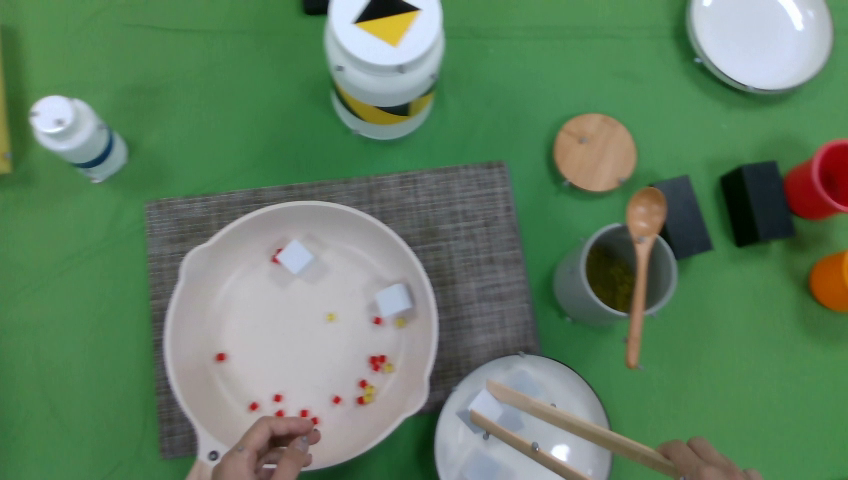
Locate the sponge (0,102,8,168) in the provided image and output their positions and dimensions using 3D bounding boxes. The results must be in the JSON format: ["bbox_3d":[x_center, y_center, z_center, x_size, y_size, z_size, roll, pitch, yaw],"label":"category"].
[{"bbox_3d":[-0.578,-0.180,0.710,0.118,0.061,0.206,-13,81,-8],"label":"sponge"}]

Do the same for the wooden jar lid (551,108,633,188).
[{"bbox_3d":[0.219,-0.120,0.796,0.108,0.021,0.108,1,80,-5],"label":"wooden jar lid"}]

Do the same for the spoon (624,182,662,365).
[{"bbox_3d":[0.226,0.035,0.641,0.042,0.021,0.193,8,82,-8],"label":"spoon"}]

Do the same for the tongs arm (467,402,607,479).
[{"bbox_3d":[0.208,0.222,0.514,0.381,0.027,0.050,24,46,30],"label":"tongs arm"}]

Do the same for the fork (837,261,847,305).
[{"bbox_3d":[0.525,-0.001,0.736,0.028,0.018,0.209,-20,125,-1],"label":"fork"}]

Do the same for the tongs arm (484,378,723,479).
[{"bbox_3d":[0.220,0.209,0.528,0.384,0.028,0.028,20,41,27],"label":"tongs arm"}]

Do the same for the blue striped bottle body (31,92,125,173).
[{"bbox_3d":[-0.393,-0.123,0.686,0.063,0.121,0.063,1,78,-5],"label":"blue striped bottle body"}]

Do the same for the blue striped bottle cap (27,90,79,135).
[{"bbox_3d":[-0.390,-0.135,0.637,0.044,0.020,0.044,1,80,-5],"label":"blue striped bottle cap"}]

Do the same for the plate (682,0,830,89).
[{"bbox_3d":[0.456,-0.305,0.845,0.209,0.038,0.208,1,79,-5],"label":"plate"}]

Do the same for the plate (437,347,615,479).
[{"bbox_3d":[0.116,0.230,0.708,0.208,0.039,0.207,1,81,-5],"label":"plate"}]

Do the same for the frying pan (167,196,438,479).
[{"bbox_3d":[-0.186,0.179,0.653,0.306,0.103,0.486,33,70,2],"label":"frying pan"}]

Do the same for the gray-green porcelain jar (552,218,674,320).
[{"bbox_3d":[0.213,0.039,0.710,0.106,0.127,0.105,1,78,-5],"label":"gray-green porcelain jar"}]

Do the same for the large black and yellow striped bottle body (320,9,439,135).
[{"bbox_3d":[-0.051,-0.215,0.706,0.131,0.184,0.130,1,78,-5],"label":"large black and yellow striped bottle body"}]

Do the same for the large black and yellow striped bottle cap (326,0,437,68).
[{"bbox_3d":[-0.043,-0.234,0.624,0.115,0.019,0.114,1,80,-5],"label":"large black and yellow striped bottle cap"}]
